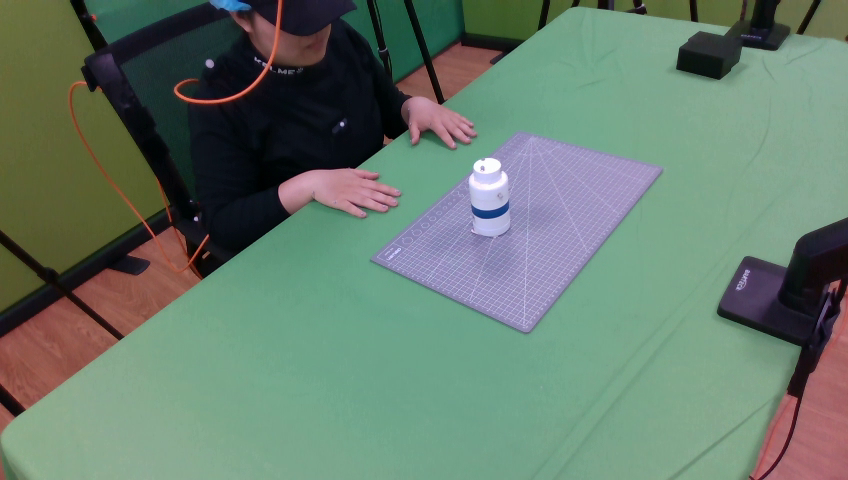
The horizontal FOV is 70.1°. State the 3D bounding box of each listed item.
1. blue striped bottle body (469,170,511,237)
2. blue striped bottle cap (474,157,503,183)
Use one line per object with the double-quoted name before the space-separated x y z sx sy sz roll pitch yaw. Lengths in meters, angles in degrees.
"blue striped bottle body" 0.105 -0.069 0.963 0.063 0.121 0.063 -6 40 5
"blue striped bottle cap" 0.099 -0.108 0.931 0.044 0.021 0.044 -6 41 6
